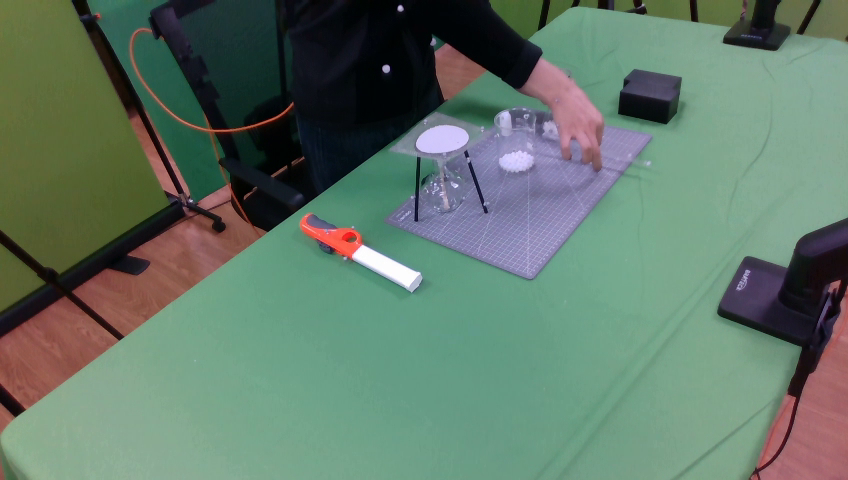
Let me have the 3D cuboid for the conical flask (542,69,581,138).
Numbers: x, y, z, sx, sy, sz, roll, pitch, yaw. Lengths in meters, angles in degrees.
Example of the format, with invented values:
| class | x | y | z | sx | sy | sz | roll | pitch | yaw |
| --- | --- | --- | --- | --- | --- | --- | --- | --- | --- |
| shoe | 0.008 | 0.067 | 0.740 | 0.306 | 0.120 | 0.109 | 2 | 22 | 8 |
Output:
| class | x | y | z | sx | sy | sz | roll | pitch | yaw |
| --- | --- | --- | --- | --- | --- | --- | --- | --- | --- |
| conical flask | 0.265 | -0.264 | 1.163 | 0.075 | 0.122 | 0.075 | -5 | 40 | 5 |

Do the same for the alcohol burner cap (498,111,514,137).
| class | x | y | z | sx | sy | sz | roll | pitch | yaw |
| --- | --- | --- | --- | --- | --- | --- | --- | --- | --- |
| alcohol burner cap | 0.163 | -0.234 | 1.211 | 0.034 | 0.048 | 0.033 | -6 | 39 | 6 |

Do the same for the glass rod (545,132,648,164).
| class | x | y | z | sx | sy | sz | roll | pitch | yaw |
| --- | --- | --- | --- | --- | --- | --- | --- | --- | --- |
| glass rod | 0.307 | -0.168 | 1.091 | 0.198 | 0.008 | 0.008 | 23 | 50 | 29 |

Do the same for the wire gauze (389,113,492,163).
| class | x | y | z | sx | sy | sz | roll | pitch | yaw |
| --- | --- | --- | --- | --- | --- | --- | --- | --- | --- |
| wire gauze | 0.026 | -0.164 | 0.977 | 0.120 | 0.011 | 0.125 | 24 | 49 | 35 |

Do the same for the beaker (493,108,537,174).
| class | x | y | z | sx | sy | sz | roll | pitch | yaw |
| --- | --- | --- | --- | --- | --- | --- | --- | --- | --- |
| beaker | 0.170 | -0.177 | 1.096 | 0.074 | 0.101 | 0.083 | -34 | 46 | -26 |

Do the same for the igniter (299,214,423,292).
| class | x | y | z | sx | sy | sz | roll | pitch | yaw |
| --- | --- | --- | --- | --- | --- | --- | --- | --- | --- |
| igniter | -0.112 | 0.016 | 0.983 | 0.274 | 0.025 | 0.057 | 25 | 62 | 35 |

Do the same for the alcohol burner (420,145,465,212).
| class | x | y | z | sx | sy | sz | roll | pitch | yaw |
| --- | --- | --- | --- | --- | --- | --- | --- | --- | --- |
| alcohol burner | 0.031 | -0.108 | 1.030 | 0.078 | 0.119 | 0.077 | -5 | 38 | 4 |

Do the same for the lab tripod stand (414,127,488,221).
| class | x | y | z | sx | sy | sz | roll | pitch | yaw |
| --- | --- | --- | --- | --- | --- | --- | --- | --- | --- |
| lab tripod stand | 0.035 | -0.114 | 1.021 | 0.148 | 0.132 | 0.147 | -7 | 39 | 6 |
